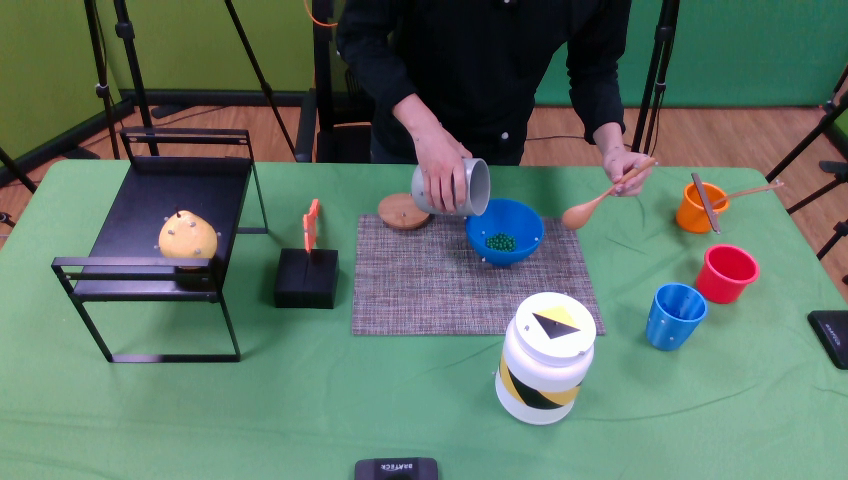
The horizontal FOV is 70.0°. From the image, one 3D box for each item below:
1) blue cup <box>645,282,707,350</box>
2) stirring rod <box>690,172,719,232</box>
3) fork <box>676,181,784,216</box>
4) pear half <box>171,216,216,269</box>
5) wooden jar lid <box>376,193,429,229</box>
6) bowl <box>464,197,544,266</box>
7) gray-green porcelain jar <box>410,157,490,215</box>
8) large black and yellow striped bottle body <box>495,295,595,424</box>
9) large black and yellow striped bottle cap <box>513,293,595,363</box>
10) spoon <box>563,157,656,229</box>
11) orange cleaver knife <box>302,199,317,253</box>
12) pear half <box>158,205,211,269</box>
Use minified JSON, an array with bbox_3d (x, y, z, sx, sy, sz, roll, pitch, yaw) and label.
[{"bbox_3d":[0.425,0.136,1.042,0.093,0.101,0.092,1,44,-1],"label":"blue cup"},{"bbox_3d":[0.566,-0.080,1.224,0.014,0.006,0.175,3,46,0],"label":"stirring rod"},{"bbox_3d":[0.618,-0.084,1.235,0.207,0.019,0.028,-23,21,38],"label":"fork"},{"bbox_3d":[-0.323,0.007,0.866,0.031,0.088,0.070,25,47,20],"label":"pear half"},{"bbox_3d":[-0.044,-0.059,1.246,0.108,0.021,0.107,3,40,-3],"label":"wooden jar lid"},{"bbox_3d":[0.149,-0.004,1.167,0.151,0.077,0.150,2,46,-2],"label":"bowl"},{"bbox_3d":[0.046,-0.100,1.127,0.126,0.106,0.105,4,42,27],"label":"gray-green porcelain jar"},{"bbox_3d":[0.183,0.182,0.923,0.131,0.185,0.130,2,46,-2],"label":"large black and yellow striped bottle body"},{"bbox_3d":[0.186,0.123,0.863,0.115,0.019,0.114,3,45,-3],"label":"large black and yellow striped bottle cap"},{"bbox_3d":[0.323,-0.084,1.064,0.041,0.194,0.021,49,26,0],"label":"spoon"},{"bbox_3d":[-0.219,-0.031,1.168,0.012,0.077,0.210,-5,17,-3],"label":"orange cleaver knife"},{"bbox_3d":[-0.352,-0.015,0.872,0.056,0.110,0.076,25,46,20],"label":"pear half"}]
